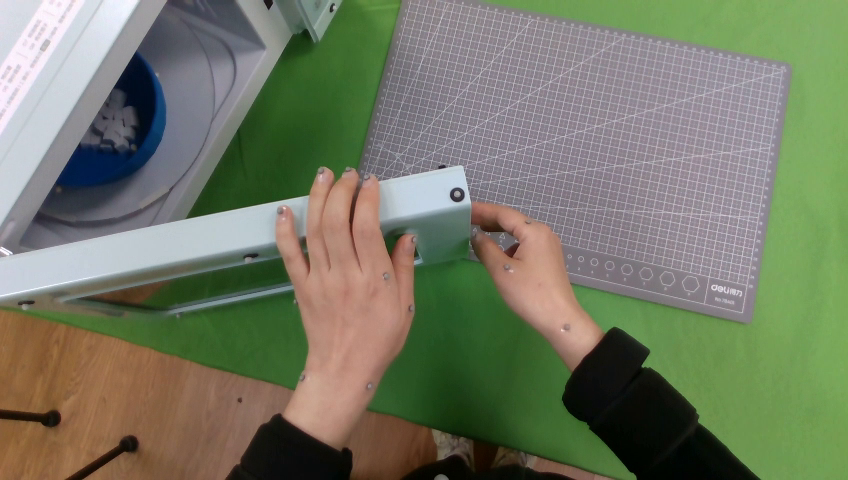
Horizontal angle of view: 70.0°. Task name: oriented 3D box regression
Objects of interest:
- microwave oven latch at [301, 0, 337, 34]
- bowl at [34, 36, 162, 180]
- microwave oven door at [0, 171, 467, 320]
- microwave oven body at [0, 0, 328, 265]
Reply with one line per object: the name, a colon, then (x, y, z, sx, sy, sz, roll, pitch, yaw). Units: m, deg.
microwave oven latch: (-0.115, -0.276, 0.687, 0.030, 0.029, 0.079, 28, 84, 6)
bowl: (-0.323, -0.123, 0.605, 0.151, 0.077, 0.150, -1, 78, 5)
microwave oven door: (-0.138, 0.015, 0.538, 0.356, 0.245, 0.039, -11, 79, 1)
microwave oven body: (-0.334, -0.204, 0.588, 0.325, 0.261, 0.441, 27, 84, 6)
